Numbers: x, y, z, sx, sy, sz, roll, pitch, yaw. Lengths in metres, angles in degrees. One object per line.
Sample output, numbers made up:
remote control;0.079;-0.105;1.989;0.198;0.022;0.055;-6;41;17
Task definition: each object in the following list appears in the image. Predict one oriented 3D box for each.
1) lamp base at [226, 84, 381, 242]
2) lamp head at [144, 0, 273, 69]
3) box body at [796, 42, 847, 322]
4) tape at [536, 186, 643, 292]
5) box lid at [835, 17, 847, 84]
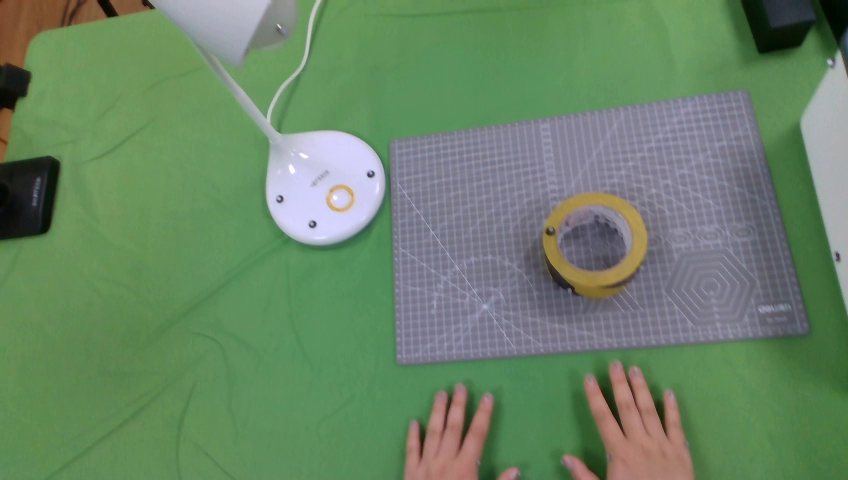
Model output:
lamp base;-0.159;-0.104;0.725;0.178;0.182;0.160;33;80;22
lamp head;-0.166;-0.202;0.443;0.123;0.112;0.112;26;76;-16
box body;0.537;-0.033;0.570;0.254;0.161;0.361;-6;70;10
tape;0.187;-0.002;0.687;0.116;0.053;0.116;-3;71;10
box lid;0.523;-0.059;0.503;0.263;0.015;0.369;-5;71;9
